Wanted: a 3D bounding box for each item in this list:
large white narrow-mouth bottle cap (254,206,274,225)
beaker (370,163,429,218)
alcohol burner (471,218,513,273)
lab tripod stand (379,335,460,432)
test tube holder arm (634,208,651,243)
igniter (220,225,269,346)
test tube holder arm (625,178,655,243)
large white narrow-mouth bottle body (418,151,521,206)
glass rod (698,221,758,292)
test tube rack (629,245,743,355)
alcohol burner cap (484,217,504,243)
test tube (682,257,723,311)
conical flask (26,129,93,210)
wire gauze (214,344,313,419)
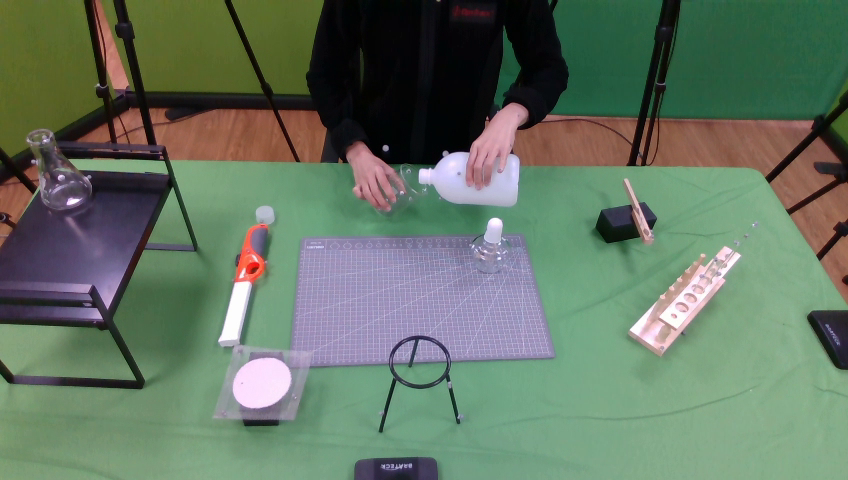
[{"bbox_3d":[-0.323,-0.049,1.222,0.038,0.024,0.037,2,47,-2],"label":"large white narrow-mouth bottle cap"},{"bbox_3d":[-0.050,-0.094,1.207,0.084,0.100,0.073,36,35,-28],"label":"beaker"},{"bbox_3d":[0.128,0.005,1.132,0.078,0.120,0.077,0,47,0],"label":"alcohol burner"},{"bbox_3d":[-0.011,0.214,0.911,0.148,0.132,0.147,1,45,0],"label":"lab tripod stand"},{"bbox_3d":[0.428,-0.030,1.189,0.010,0.015,0.087,1,47,-2],"label":"test tube holder arm"},{"bbox_3d":[-0.323,0.072,1.100,0.057,0.025,0.274,-6,46,5],"label":"igniter"},{"bbox_3d":[0.433,-0.062,1.220,0.013,0.015,0.177,1,47,-3],"label":"test tube holder arm"},{"bbox_3d":[0.086,-0.120,1.171,0.194,0.102,0.101,4,46,6],"label":"large white narrow-mouth bottle body"},{"bbox_3d":[0.527,0.035,1.060,0.008,0.200,0.008,5,49,-6],"label":"glass rod"},{"bbox_3d":[0.474,0.095,1.091,0.242,0.085,0.066,-34,56,-31],"label":"test tube rack"},{"bbox_3d":[0.130,-0.021,1.107,0.034,0.048,0.033,4,41,-3],"label":"alcohol burner cap"},{"bbox_3d":[0.475,0.080,1.037,0.017,0.151,0.017,1,50,-1],"label":"test tube"},{"bbox_3d":[-0.575,-0.113,0.946,0.075,0.122,0.075,2,46,-2],"label":"conical flask"},{"bbox_3d":[-0.241,0.213,0.915,0.121,0.011,0.124,5,46,1],"label":"wire gauze"}]
